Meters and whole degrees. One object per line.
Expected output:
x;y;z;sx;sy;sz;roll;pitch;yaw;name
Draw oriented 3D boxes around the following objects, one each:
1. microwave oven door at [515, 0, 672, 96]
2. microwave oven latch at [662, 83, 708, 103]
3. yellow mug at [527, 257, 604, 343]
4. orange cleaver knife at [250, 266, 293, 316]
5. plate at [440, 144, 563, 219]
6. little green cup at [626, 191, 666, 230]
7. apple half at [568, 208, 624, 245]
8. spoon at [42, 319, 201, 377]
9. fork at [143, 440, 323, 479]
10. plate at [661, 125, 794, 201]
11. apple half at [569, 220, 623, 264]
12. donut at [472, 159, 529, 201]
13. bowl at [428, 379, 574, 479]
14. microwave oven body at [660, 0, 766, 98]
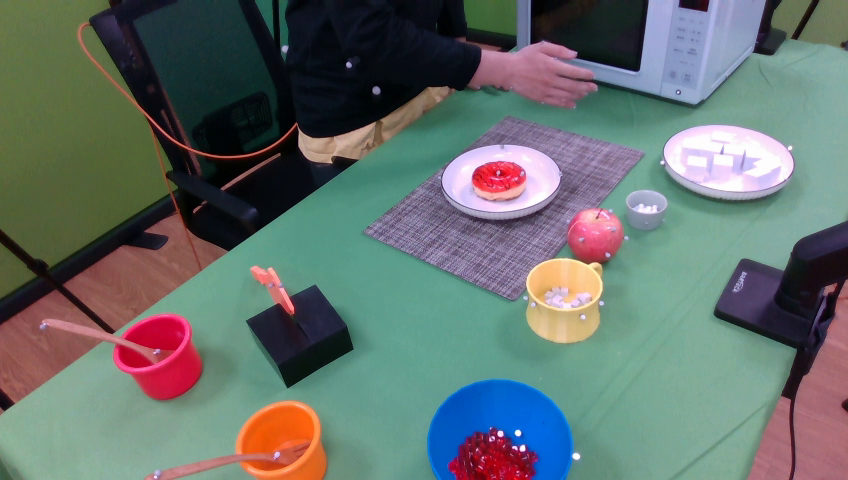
0.344;-0.455;1.259;0.353;0.245;0.039;26;51;33;microwave oven door
0.518;-0.296;1.204;0.078;0.029;0.030;28;52;35;microwave oven latch
0.201;0.072;0.825;0.131;0.064;0.099;-32;46;-27;yellow mug
-0.221;0.071;0.873;0.012;0.077;0.210;-25;11;-21;orange cleaver knife
0.134;-0.098;1.051;0.209;0.038;0.208;-4;40;4;plate
0.352;-0.046;0.963;0.061;0.039;0.061;-4;40;4;little green cup
0.259;-0.014;0.914;0.080;0.075;0.053;0;36;15;apple half
-0.385;0.135;0.779;0.195;0.021;0.041;29;37;-26;spoon
-0.189;0.231;0.631;0.028;0.018;0.209;38;14;37;fork
0.513;-0.128;1.035;0.207;0.039;0.206;-4;40;4;plate
0.251;0.010;0.884;0.081;0.081;0.032;3;37;12;apple half
0.132;-0.105;1.043;0.099;0.048;0.098;-5;38;4;donut
0.082;0.233;0.644;0.151;0.077;0.150;-4;39;4;bowl
0.472;-0.513;1.317;0.438;0.261;0.327;26;51;34;microwave oven body
